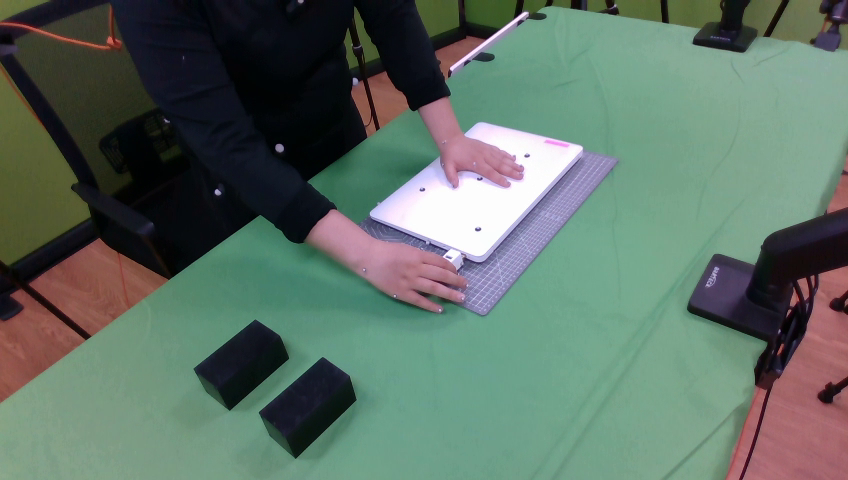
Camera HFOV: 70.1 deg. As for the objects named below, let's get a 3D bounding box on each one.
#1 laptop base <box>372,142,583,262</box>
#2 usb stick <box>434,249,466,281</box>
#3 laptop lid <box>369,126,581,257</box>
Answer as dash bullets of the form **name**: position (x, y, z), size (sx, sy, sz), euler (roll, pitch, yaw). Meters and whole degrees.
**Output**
- **laptop base**: position (0.101, -0.096, 1.071), size (0.233, 0.023, 0.355), euler (19, 46, 34)
- **usb stick**: position (0.041, 0.034, 0.907), size (0.021, 0.027, 0.059), euler (23, 46, 35)
- **laptop lid**: position (0.098, -0.104, 1.066), size (0.239, 0.013, 0.358), euler (21, 47, 34)
